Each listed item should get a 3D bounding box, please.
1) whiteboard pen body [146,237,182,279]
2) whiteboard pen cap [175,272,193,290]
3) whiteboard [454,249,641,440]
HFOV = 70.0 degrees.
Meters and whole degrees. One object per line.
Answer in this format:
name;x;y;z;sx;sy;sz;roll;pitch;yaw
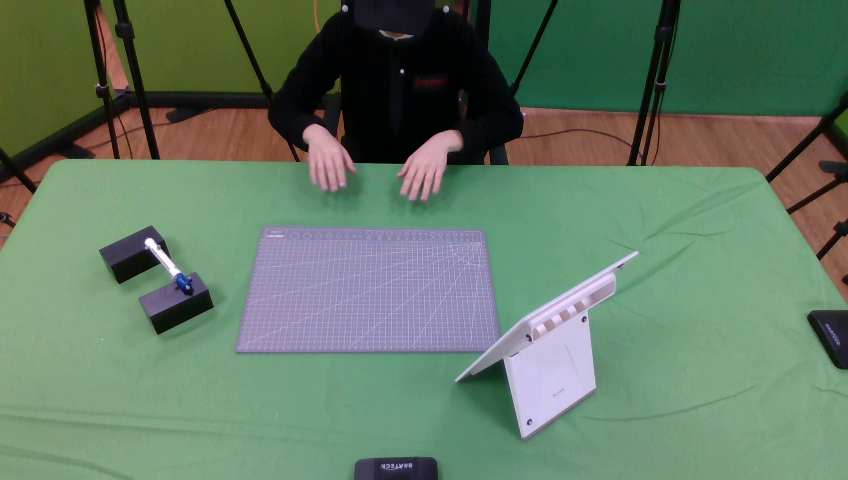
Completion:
whiteboard pen body;-0.449;0.038;1.061;0.017;0.017;0.140;-33;57;-30
whiteboard pen cap;-0.409;0.069;1.032;0.018;0.018;0.033;-32;56;-29
whiteboard;0.206;0.174;0.890;0.217;0.306;0.143;-24;72;-25
